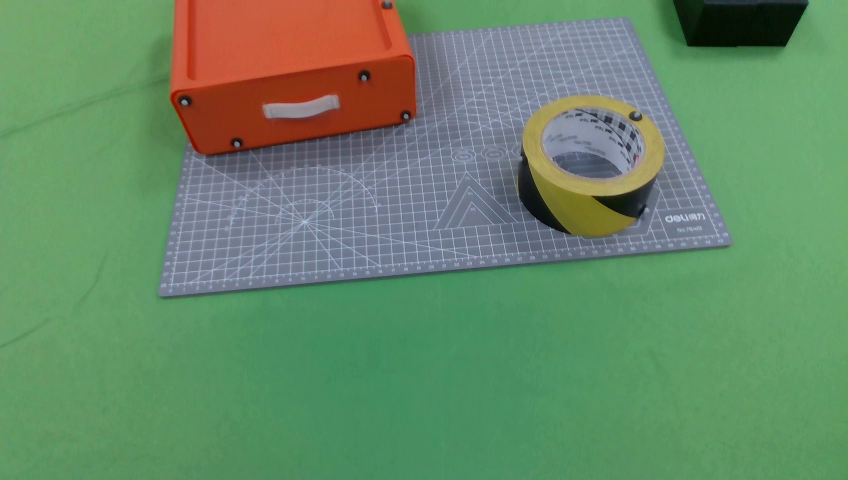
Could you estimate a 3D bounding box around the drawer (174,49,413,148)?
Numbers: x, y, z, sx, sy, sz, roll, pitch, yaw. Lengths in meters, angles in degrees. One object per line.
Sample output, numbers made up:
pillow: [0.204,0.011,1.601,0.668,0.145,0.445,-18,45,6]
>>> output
drawer: [-0.126,-0.197,0.574,0.195,0.074,0.209,-11,55,-6]

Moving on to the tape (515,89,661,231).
tape: [0.132,-0.066,0.496,0.117,0.053,0.115,-1,56,1]

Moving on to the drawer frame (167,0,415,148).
drawer frame: [-0.128,-0.199,0.574,0.202,0.083,0.211,-12,55,-7]
